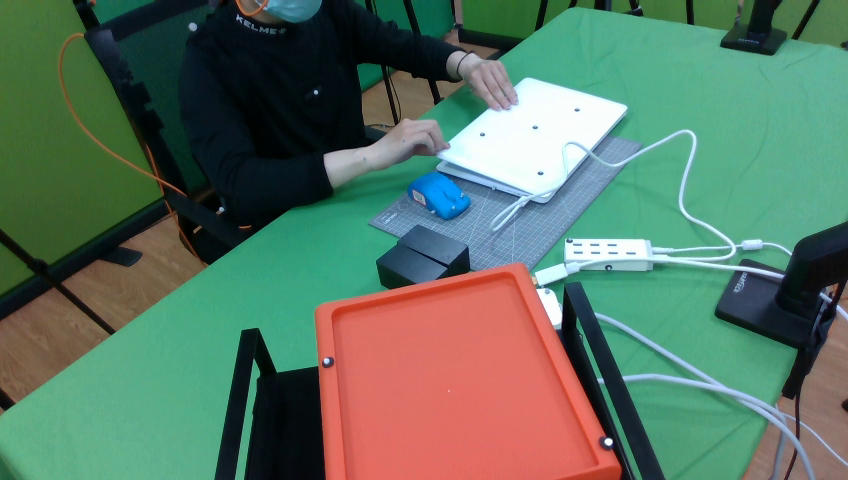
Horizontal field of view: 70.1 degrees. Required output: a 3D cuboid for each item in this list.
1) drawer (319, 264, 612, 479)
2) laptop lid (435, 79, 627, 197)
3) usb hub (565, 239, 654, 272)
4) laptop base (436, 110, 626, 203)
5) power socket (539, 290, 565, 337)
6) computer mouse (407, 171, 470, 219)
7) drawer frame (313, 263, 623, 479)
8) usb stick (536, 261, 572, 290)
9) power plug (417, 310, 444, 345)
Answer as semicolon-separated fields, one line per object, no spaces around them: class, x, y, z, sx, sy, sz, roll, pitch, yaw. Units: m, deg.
drawer;0.020;0.129;0.497;0.195;0.073;0.210;-11;41;-5
laptop lid;0.212;-0.211;1.156;0.240;0.013;0.358;26;49;28
usb hub;0.275;0.022;0.906;0.125;0.025;0.049;1;41;9
laptop base;0.215;-0.192;1.172;0.233;0.023;0.355;19;46;32
power socket;0.081;0.112;0.822;0.227;0.033;0.072;-6;41;0
computer mouse;0.024;-0.082;1.049;0.063;0.041;0.116;-30;50;-27
drawer frame;0.021;0.130;0.493;0.202;0.083;0.212;-11;41;-6
usb stick;0.183;0.055;0.876;0.059;0.027;0.021;-33;89;-5
power plug;0.007;0.122;0.785;0.035;0.053;0.072;0;39;8
